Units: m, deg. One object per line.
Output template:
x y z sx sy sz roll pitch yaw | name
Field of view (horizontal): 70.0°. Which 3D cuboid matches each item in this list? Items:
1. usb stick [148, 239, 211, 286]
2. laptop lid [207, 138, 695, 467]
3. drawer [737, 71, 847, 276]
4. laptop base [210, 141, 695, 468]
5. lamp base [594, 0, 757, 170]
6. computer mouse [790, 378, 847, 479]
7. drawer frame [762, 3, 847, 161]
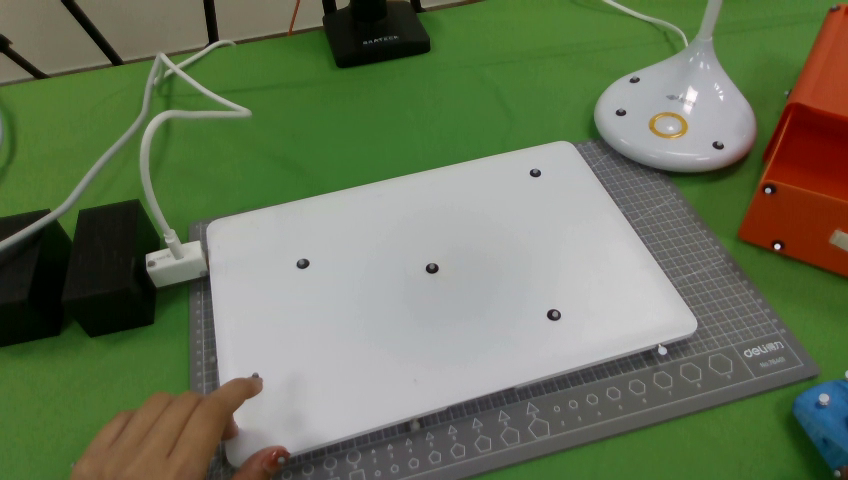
-0.198 0.017 0.511 0.059 0.027 0.021 -14 48 -15 | usb stick
0.008 0.025 0.495 0.357 0.013 0.239 -13 51 -8 | laptop lid
0.404 -0.054 0.523 0.193 0.074 0.211 23 53 23 | drawer
0.008 0.031 0.505 0.355 0.023 0.233 -14 53 -9 | laptop base
0.259 -0.188 0.578 0.160 0.182 0.178 16 47 17 | lamp base
0.294 0.138 0.385 0.063 0.041 0.116 -11 45 -5 | computer mouse
0.463 -0.127 0.581 0.200 0.083 0.213 24 53 23 | drawer frame
